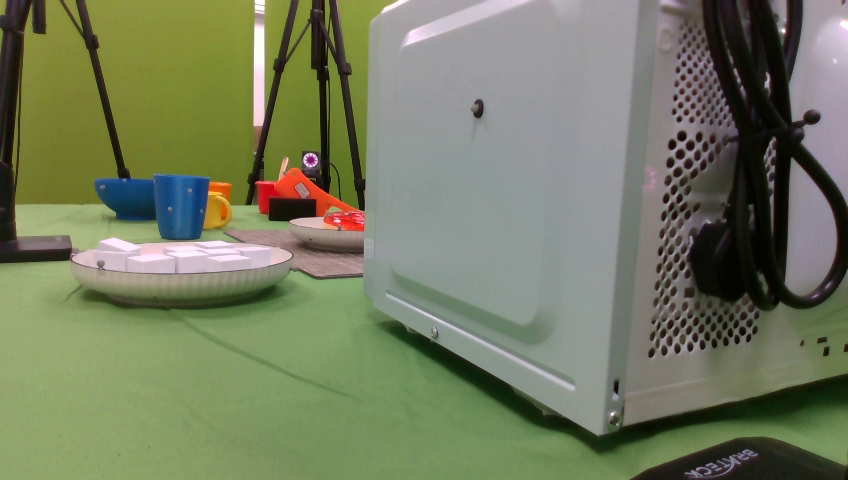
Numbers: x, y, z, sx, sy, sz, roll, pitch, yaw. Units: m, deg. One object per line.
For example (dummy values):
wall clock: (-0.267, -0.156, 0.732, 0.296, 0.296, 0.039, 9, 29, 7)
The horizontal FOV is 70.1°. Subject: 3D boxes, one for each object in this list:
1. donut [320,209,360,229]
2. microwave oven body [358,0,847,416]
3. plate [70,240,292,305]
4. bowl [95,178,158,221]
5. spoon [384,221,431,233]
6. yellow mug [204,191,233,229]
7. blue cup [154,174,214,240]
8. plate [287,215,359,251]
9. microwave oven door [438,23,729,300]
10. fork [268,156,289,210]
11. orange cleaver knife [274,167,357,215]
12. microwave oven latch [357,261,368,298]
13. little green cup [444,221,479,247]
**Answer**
donut: (-0.115, -0.023, 0.961, 0.099, 0.048, 0.099, 5, 9, 0)
microwave oven body: (0.211, -0.047, 0.474, 0.444, 0.260, 0.324, -1, 7, -28)
plate: (-0.242, 0.031, 0.618, 0.208, 0.039, 0.207, 2, 8, 0)
bowl: (-0.576, -0.081, 1.217, 0.151, 0.077, 0.151, 3, 8, 0)
spoon: (-0.024, -0.029, 1.188, 0.041, 0.021, 0.194, -12, 0, 23)
yellow mug: (-0.415, -0.057, 1.131, 0.130, 0.064, 0.100, 6, 8, 16)
blue cup: (-0.391, -0.053, 0.978, 0.093, 0.100, 0.092, 3, 6, 0)
plate: (-0.111, -0.012, 0.960, 0.209, 0.038, 0.209, 3, 8, 0)
microwave oven door: (0.181, -0.072, 0.620, 0.358, 0.243, 0.039, -2, 8, -29)
fork: (-0.360, -0.144, 1.508, 0.028, 0.018, 0.207, 1, 49, 0)
orange cleaver knife: (-0.238, -0.091, 1.381, 0.212, 0.077, 0.012, 31, 0, -19)
microwave oven latch: (-0.019, 0.033, 0.530, 0.079, 0.029, 0.030, 0, 7, -26)
little green cup: (0.064, -0.011, 1.035, 0.061, 0.038, 0.061, 1, 9, 0)
